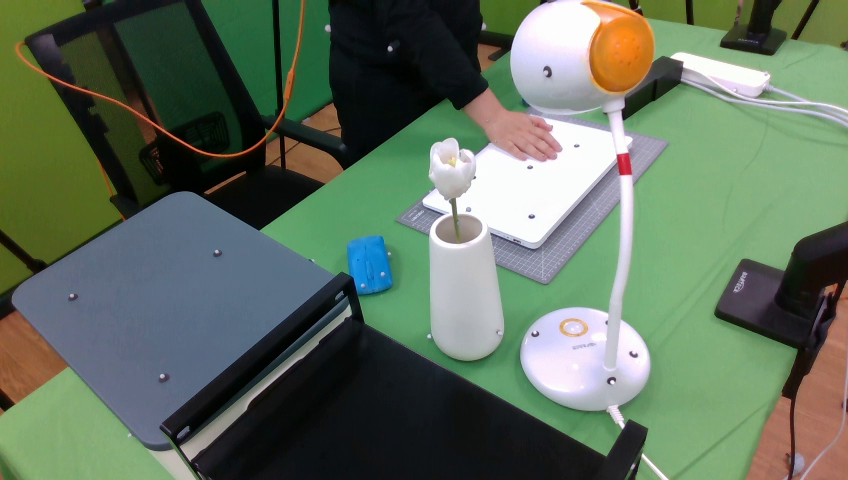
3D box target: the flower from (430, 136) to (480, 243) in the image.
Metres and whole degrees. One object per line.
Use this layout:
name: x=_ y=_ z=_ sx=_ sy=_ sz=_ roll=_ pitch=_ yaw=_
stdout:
flower: x=0.041 y=0.011 z=0.691 sx=0.044 sy=0.363 sz=0.038 roll=16 pitch=63 yaw=14

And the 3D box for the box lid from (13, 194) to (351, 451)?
box lid: x=-0.292 y=0.067 z=0.717 sx=0.368 sy=0.015 sz=0.264 roll=25 pitch=50 yaw=33

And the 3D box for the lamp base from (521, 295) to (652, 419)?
lamp base: x=0.201 y=0.095 z=0.710 sx=0.161 sy=0.181 sz=0.177 roll=-16 pitch=43 yaw=-10

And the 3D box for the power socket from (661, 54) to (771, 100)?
power socket: x=0.615 y=-0.348 z=1.285 sx=0.072 sy=0.033 sz=0.225 roll=-36 pitch=48 yaw=-28

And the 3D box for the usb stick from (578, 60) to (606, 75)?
usb stick: x=0.386 y=-0.398 z=1.389 sx=0.059 sy=0.027 sz=0.021 roll=10 pitch=32 yaw=10

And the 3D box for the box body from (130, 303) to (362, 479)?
box body: x=-0.285 y=0.123 z=0.766 sx=0.361 sy=0.161 sz=0.255 roll=25 pitch=49 yaw=33

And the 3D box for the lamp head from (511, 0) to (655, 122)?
lamp head: x=0.155 y=-0.168 z=0.564 sx=0.113 sy=0.113 sz=0.122 roll=-18 pitch=23 yaw=-12

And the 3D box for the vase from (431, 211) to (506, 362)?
vase: x=0.054 y=0.062 z=0.757 sx=0.098 sy=0.201 sz=0.097 roll=-3 pitch=40 yaw=3

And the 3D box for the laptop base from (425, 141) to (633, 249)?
laptop base: x=0.194 y=-0.116 z=1.087 sx=0.233 sy=0.023 sz=0.355 roll=21 pitch=47 yaw=34

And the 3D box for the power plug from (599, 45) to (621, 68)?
power plug: x=0.437 y=-0.422 z=1.412 sx=0.053 sy=0.035 sz=0.072 roll=-16 pitch=75 yaw=-47

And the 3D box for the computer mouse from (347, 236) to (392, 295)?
computer mouse: x=-0.086 y=0.035 z=0.936 sx=0.063 sy=0.041 sz=0.116 roll=-8 pitch=44 yaw=-5

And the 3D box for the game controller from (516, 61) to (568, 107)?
game controller: x=0.259 y=-0.352 z=1.336 sx=0.097 sy=0.052 sz=0.154 roll=-3 pitch=41 yaw=2

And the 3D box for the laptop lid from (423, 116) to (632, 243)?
laptop lid: x=0.190 y=-0.125 z=1.082 sx=0.239 sy=0.013 sz=0.358 roll=23 pitch=48 yaw=35
